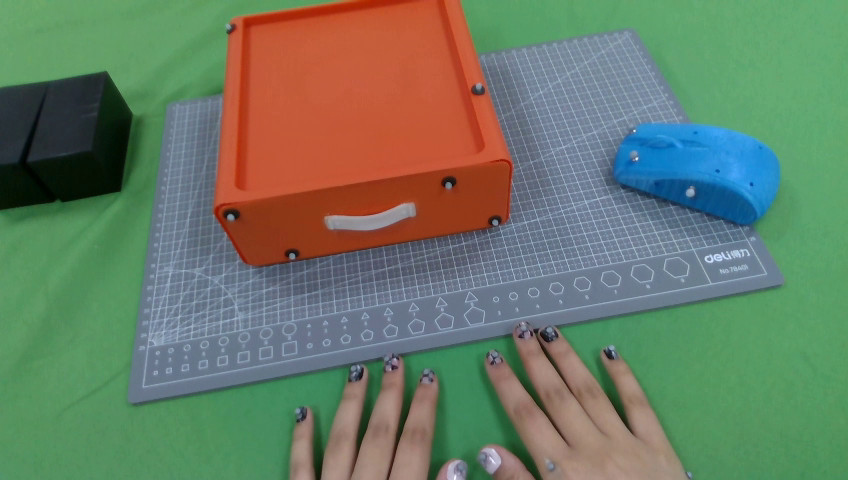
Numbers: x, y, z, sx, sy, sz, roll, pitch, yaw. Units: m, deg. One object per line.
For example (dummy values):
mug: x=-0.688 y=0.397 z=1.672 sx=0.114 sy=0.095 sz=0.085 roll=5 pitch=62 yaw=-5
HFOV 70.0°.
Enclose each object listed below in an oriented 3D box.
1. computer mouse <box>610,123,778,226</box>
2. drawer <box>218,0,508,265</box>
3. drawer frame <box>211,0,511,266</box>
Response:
computer mouse: x=0.204 y=-0.056 z=0.459 sx=0.116 sy=0.041 sz=0.062 roll=21 pitch=61 yaw=23
drawer: x=-0.052 y=-0.094 z=0.481 sx=0.194 sy=0.074 sz=0.209 roll=-10 pitch=54 yaw=-1
drawer frame: x=-0.053 y=-0.096 z=0.482 sx=0.202 sy=0.083 sz=0.211 roll=-10 pitch=54 yaw=-2
